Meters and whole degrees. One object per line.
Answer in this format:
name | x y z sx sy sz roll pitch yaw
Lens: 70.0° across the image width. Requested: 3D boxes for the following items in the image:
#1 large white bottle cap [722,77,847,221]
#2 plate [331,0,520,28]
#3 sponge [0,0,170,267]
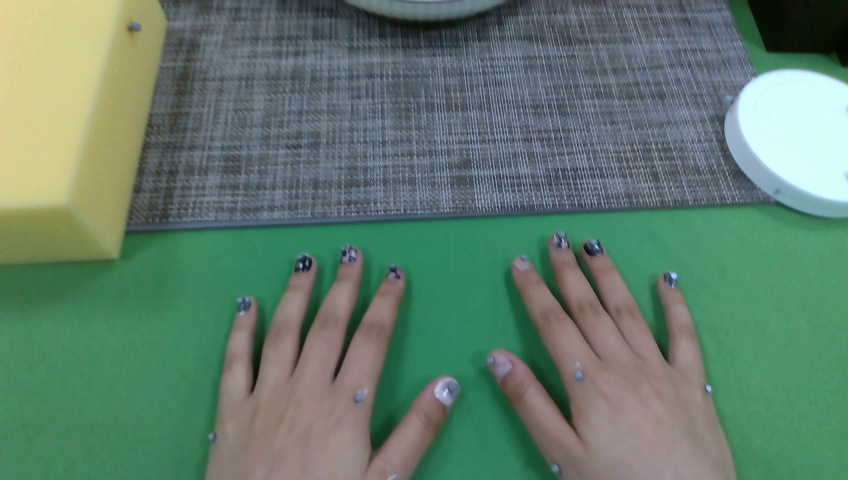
large white bottle cap | 0.263 -0.064 0.412 0.115 0.018 0.114 2 60 -3
plate | -0.001 -0.240 0.494 0.209 0.038 0.207 1 59 -1
sponge | -0.244 -0.085 0.384 0.118 0.061 0.205 -4 59 -2
